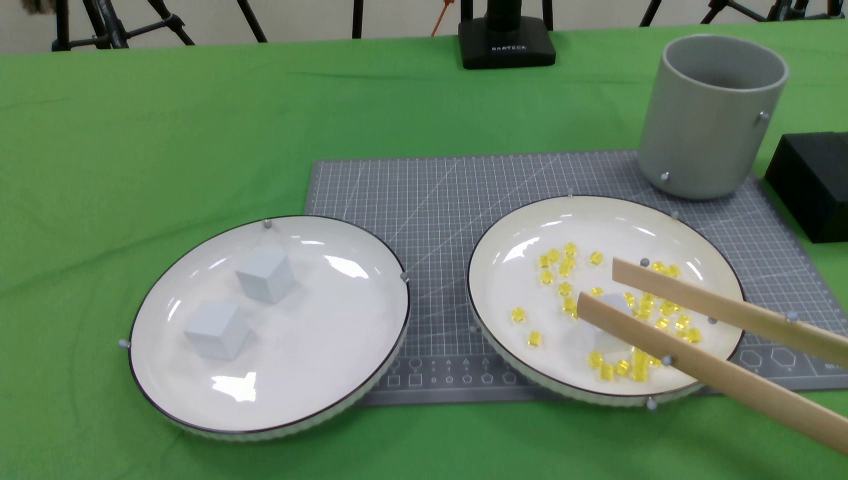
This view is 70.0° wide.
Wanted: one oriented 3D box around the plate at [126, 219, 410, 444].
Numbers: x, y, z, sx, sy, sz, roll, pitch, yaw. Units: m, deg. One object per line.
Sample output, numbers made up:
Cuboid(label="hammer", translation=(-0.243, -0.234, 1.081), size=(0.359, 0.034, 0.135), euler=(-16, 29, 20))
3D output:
Cuboid(label="plate", translation=(-0.114, 0.065, 0.467), size=(0.209, 0.038, 0.207), euler=(-2, 44, 2))

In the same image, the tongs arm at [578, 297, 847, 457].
Cuboid(label="tongs arm", translation=(0.255, 0.111, 0.315), size=(0.384, 0.028, 0.028), euler=(24, 45, 33))

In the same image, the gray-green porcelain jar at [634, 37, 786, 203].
Cuboid(label="gray-green porcelain jar", translation=(0.259, -0.107, 0.567), size=(0.106, 0.127, 0.105), euler=(-1, 44, 2))

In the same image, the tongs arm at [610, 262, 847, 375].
Cuboid(label="tongs arm", translation=(0.274, 0.095, 0.330), size=(0.381, 0.027, 0.050), euler=(21, 47, 32))

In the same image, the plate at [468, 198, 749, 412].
Cuboid(label="plate", translation=(0.138, 0.047, 0.476), size=(0.208, 0.039, 0.205), euler=(-1, 44, 1))
